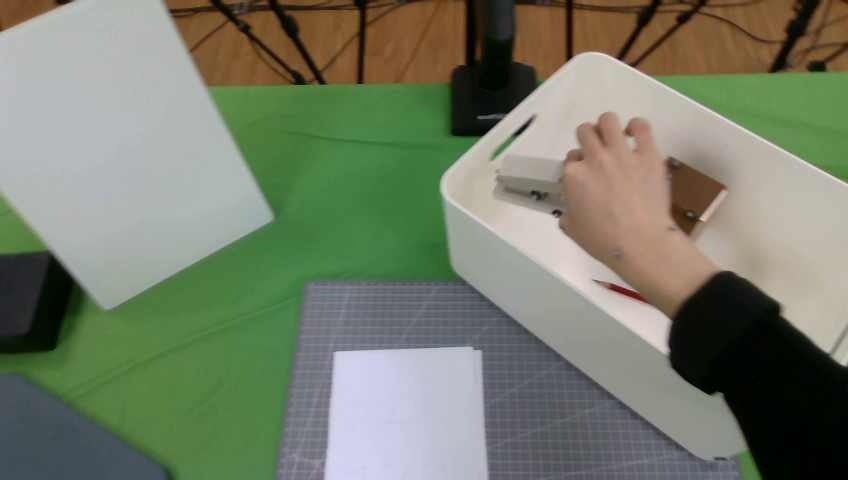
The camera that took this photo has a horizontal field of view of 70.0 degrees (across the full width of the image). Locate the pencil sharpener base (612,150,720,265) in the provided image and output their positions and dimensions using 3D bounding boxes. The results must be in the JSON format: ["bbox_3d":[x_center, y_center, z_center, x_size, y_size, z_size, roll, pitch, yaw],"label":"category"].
[{"bbox_3d":[0.258,-0.035,0.662,0.076,0.108,0.061,36,66,22],"label":"pencil sharpener base"}]

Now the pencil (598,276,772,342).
[{"bbox_3d":[0.273,0.071,0.657,0.193,0.012,0.012,20,63,18],"label":"pencil"}]

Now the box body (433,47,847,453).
[{"bbox_3d":[0.221,0.003,0.615,0.361,0.162,0.254,37,67,21],"label":"box body"}]

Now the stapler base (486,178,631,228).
[{"bbox_3d":[0.123,-0.048,0.556,0.130,0.024,0.041,17,67,19],"label":"stapler base"}]

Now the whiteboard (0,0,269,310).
[{"bbox_3d":[-0.349,-0.116,0.666,0.217,0.309,0.142,-31,44,-14],"label":"whiteboard"}]

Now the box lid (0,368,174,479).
[{"bbox_3d":[-0.436,0.323,0.553,0.262,0.015,0.370,23,63,15],"label":"box lid"}]

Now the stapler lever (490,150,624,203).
[{"bbox_3d":[0.116,-0.060,0.533,0.117,0.040,0.026,16,66,20],"label":"stapler lever"}]

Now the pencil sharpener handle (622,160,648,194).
[{"bbox_3d":[0.217,-0.067,0.668,0.030,0.068,0.036,36,53,22],"label":"pencil sharpener handle"}]
